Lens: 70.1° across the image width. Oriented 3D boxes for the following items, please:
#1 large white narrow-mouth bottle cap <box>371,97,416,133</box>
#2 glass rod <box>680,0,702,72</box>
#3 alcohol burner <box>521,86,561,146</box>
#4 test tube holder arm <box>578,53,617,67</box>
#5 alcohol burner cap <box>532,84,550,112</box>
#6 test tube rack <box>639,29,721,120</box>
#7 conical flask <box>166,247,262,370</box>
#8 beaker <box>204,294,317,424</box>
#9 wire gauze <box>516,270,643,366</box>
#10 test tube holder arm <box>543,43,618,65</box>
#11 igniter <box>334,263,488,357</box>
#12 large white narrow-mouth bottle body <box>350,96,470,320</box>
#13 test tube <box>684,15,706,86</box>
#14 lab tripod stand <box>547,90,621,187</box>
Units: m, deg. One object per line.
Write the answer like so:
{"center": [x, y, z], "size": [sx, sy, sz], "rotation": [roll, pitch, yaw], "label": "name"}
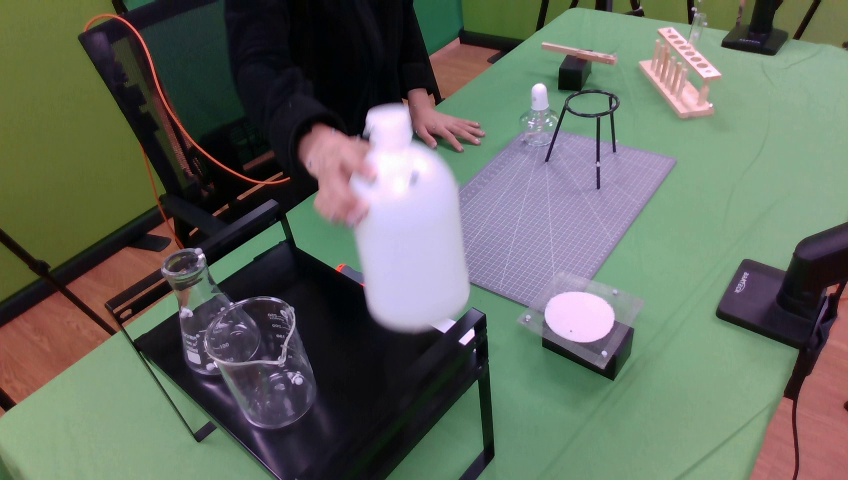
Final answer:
{"center": [-0.025, -0.106, 0.511], "size": [0.038, 0.024, 0.037], "rotation": [-6, 26, 3], "label": "large white narrow-mouth bottle cap"}
{"center": [0.542, -0.417, 1.233], "size": [0.008, 0.200, 0.008], "rotation": [1, 40, 0], "label": "glass rod"}
{"center": [0.223, -0.241, 1.155], "size": [0.078, 0.119, 0.077], "rotation": [-5, 43, 5], "label": "alcohol burner"}
{"center": [0.376, -0.393, 1.314], "size": [0.087, 0.015, 0.010], "rotation": [26, 51, 32], "label": "test tube holder arm"}
{"center": [0.218, -0.268, 1.133], "size": [0.034, 0.048, 0.033], "rotation": [-8, 36, 7], "label": "alcohol burner cap"}
{"center": [0.527, -0.351, 1.262], "size": [0.067, 0.085, 0.241], "rotation": [-8, 40, 1], "label": "test tube rack"}
{"center": [-0.209, 0.064, 0.584], "size": [0.075, 0.122, 0.075], "rotation": [-4, 41, 4], "label": "conical flask"}
{"center": [-0.137, 0.110, 0.536], "size": [0.083, 0.101, 0.074], "rotation": [30, 53, 35], "label": "beaker"}
{"center": [0.200, 0.093, 0.777], "size": [0.124, 0.011, 0.122], "rotation": [23, 49, 33], "label": "wire gauze"}
{"center": [0.345, -0.413, 1.341], "size": [0.177, 0.015, 0.013], "rotation": [25, 50, 31], "label": "test tube holder arm"}
{"center": [-0.030, 0.095, 0.872], "size": [0.274, 0.025, 0.057], "rotation": [23, 60, 31], "label": "igniter"}
{"center": [-0.015, -0.031, 0.549], "size": [0.102, 0.195, 0.101], "rotation": [-6, 26, 4], "label": "large white narrow-mouth bottle body"}
{"center": [0.540, -0.378, 1.215], "size": [0.017, 0.151, 0.017], "rotation": [-2, 44, 3], "label": "test tube"}
{"center": [0.289, -0.184, 1.062], "size": [0.148, 0.132, 0.147], "rotation": [-6, 41, 6], "label": "lab tripod stand"}
